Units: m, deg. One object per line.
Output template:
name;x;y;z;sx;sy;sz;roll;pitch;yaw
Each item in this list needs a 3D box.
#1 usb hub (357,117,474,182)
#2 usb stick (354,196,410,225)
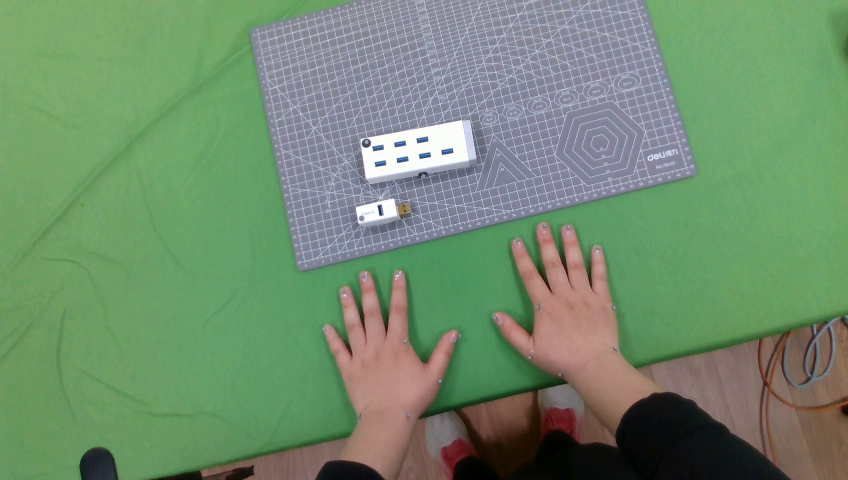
usb hub;-0.009;-0.101;0.673;0.125;0.025;0.049;-10;81;4
usb stick;-0.045;-0.034;0.666;0.059;0.027;0.021;-12;82;2
